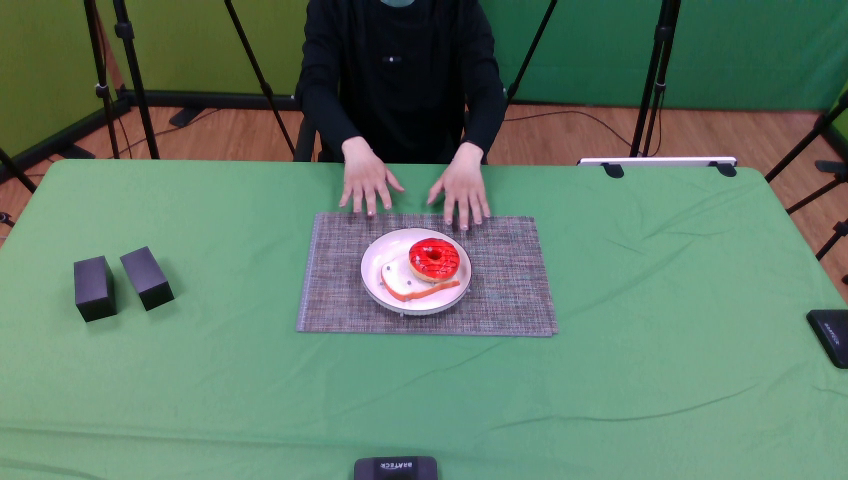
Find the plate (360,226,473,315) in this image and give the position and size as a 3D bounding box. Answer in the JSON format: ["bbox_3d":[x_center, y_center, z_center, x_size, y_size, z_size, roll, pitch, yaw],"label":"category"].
[{"bbox_3d":[-0.013,0.059,1.124,0.208,0.039,0.206,2,46,-2],"label":"plate"}]

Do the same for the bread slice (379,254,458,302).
[{"bbox_3d":[-0.014,0.064,1.123,0.132,0.019,0.104,-17,50,-22],"label":"bread slice"}]

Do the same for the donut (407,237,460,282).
[{"bbox_3d":[0.017,0.037,1.109,0.099,0.048,0.098,4,44,-4],"label":"donut"}]
